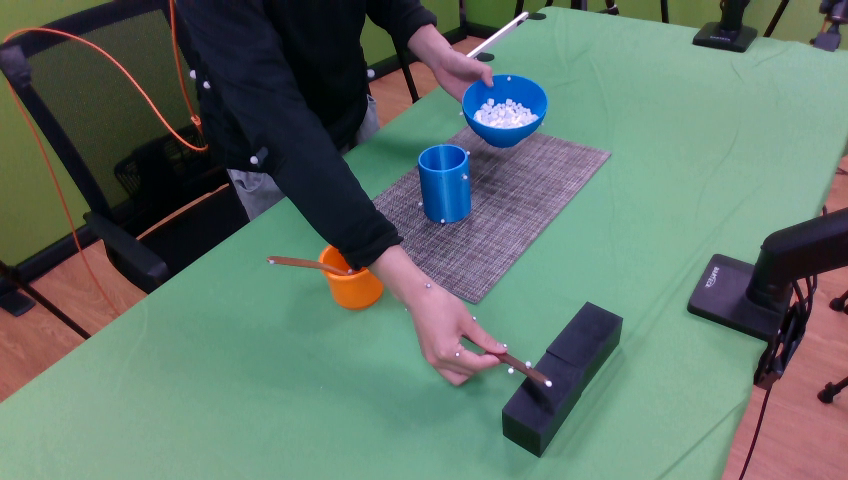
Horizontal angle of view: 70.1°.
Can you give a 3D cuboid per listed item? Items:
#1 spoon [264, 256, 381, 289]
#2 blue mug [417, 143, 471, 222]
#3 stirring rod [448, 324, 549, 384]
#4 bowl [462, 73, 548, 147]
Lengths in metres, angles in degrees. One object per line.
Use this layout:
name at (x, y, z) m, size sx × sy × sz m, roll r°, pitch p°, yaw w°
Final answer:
spoon at (-0.137, 0.042, 0.842) m, size 0.021 × 0.195 × 0.041 m, roll -56°, pitch 47°, yaw 13°
blue mug at (0.031, -0.105, 1.014) m, size 0.082 × 0.106 × 0.115 m, roll -14°, pitch 41°, yaw -7°
stirring rod at (0.086, 0.136, 0.740) m, size 0.014 × 0.006 × 0.174 m, roll -13°, pitch 22°, yaw -33°
bowl at (0.142, -0.219, 1.075) m, size 0.151 × 0.077 × 0.150 m, roll -1°, pitch 52°, yaw 2°
